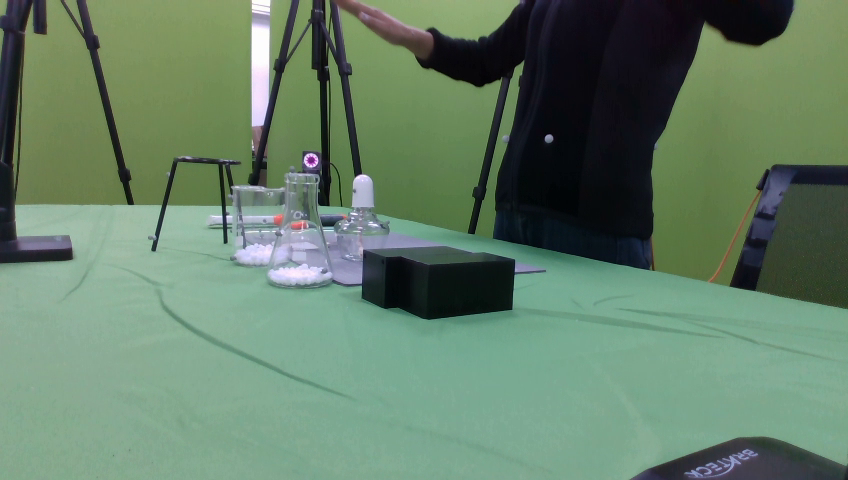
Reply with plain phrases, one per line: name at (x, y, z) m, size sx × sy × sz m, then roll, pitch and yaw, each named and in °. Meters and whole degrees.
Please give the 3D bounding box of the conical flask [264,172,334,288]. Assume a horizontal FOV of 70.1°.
conical flask at (-0.136, -0.013, 0.660) m, size 0.075 × 0.122 × 0.075 m, roll 2°, pitch 7°, yaw 0°

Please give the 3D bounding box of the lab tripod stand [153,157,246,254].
lab tripod stand at (-0.305, -0.051, 0.865) m, size 0.148 × 0.131 × 0.148 m, roll 4°, pitch 7°, yaw 0°

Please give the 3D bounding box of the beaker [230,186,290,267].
beaker at (-0.209, -0.019, 0.778) m, size 0.074 × 0.100 × 0.084 m, roll 3°, pitch 7°, yaw 4°

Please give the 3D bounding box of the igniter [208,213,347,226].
igniter at (-0.283, -0.041, 1.200) m, size 0.278 × 0.025 × 0.057 m, roll -2°, pitch -2°, yaw -34°

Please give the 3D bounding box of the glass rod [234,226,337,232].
glass rod at (-0.256, -0.022, 1.136) m, size 0.201 × 0.008 × 0.008 m, roll -3°, pitch 8°, yaw -33°

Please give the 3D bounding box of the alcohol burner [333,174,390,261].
alcohol burner at (-0.085, -0.031, 0.832) m, size 0.078 × 0.119 × 0.078 m, roll 3°, pitch 5°, yaw 0°

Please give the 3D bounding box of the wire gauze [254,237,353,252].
wire gauze at (-0.188, 0.004, 0.940) m, size 0.122 × 0.011 × 0.124 m, roll -2°, pitch 6°, yaw -34°

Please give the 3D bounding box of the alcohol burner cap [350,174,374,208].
alcohol burner cap at (-0.085, -0.067, 0.829) m, size 0.034 × 0.048 × 0.034 m, roll 0°, pitch 2°, yaw 0°
